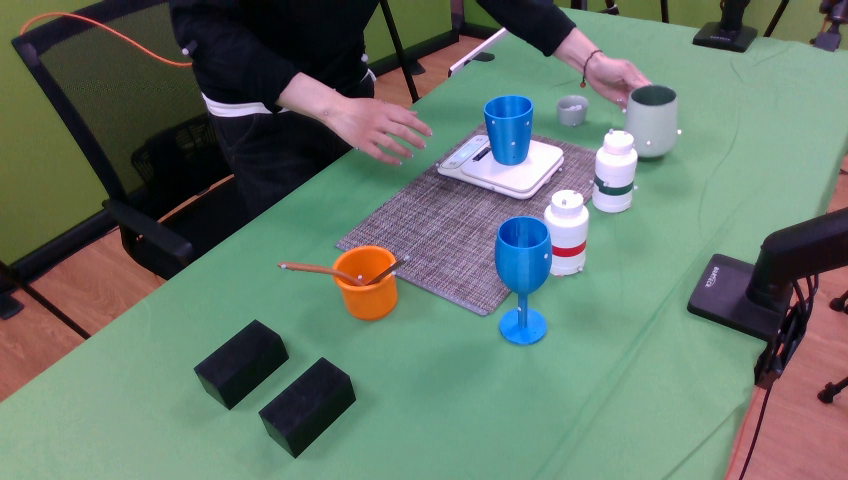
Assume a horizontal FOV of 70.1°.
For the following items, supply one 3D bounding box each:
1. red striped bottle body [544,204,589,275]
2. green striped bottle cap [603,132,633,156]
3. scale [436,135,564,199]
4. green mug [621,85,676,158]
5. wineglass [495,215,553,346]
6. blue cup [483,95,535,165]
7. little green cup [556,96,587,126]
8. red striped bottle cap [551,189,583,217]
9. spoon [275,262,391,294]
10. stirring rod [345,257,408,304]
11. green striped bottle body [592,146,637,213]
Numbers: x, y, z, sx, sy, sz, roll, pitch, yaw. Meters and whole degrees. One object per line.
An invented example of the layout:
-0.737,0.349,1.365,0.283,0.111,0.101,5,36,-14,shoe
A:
0.206,-0.011,0.877,0.063,0.120,0.062,-5,41,4,red striped bottle body
0.302,-0.149,0.939,0.044,0.020,0.044,-3,40,3,green striped bottle cap
0.137,-0.141,1.101,0.199,0.032,0.149,22,48,30,scale
0.396,-0.218,1.078,0.092,0.105,0.124,-7,40,4,green mug
0.127,0.054,0.770,0.074,0.173,0.073,-4,40,4,wineglass
0.148,-0.188,1.053,0.092,0.100,0.092,-5,39,5,blue cup
0.295,-0.257,1.214,0.061,0.039,0.061,-5,40,5,little green cup
0.200,-0.052,0.843,0.044,0.018,0.044,-1,42,2,red striped bottle cap
-0.120,0.050,0.830,0.041,0.195,0.021,31,97,45,spoon
-0.067,0.057,0.815,0.014,0.175,0.006,-25,82,-38,stirring rod
0.307,-0.108,0.975,0.063,0.120,0.063,-5,40,4,green striped bottle body
